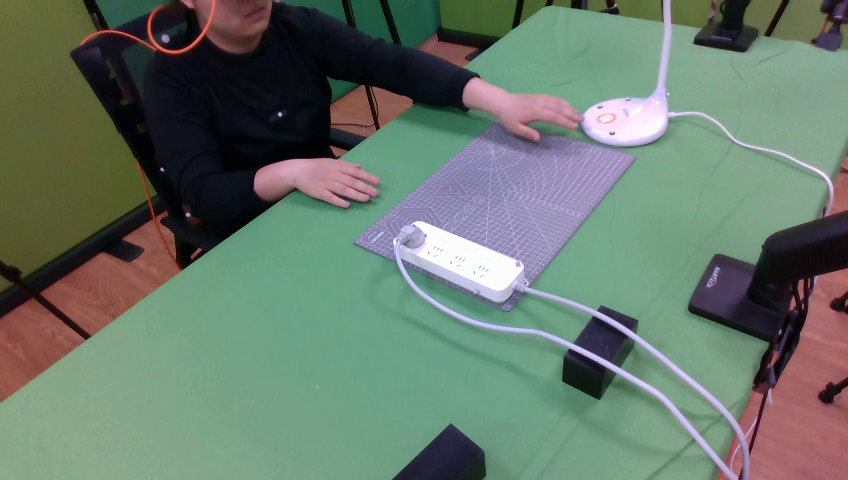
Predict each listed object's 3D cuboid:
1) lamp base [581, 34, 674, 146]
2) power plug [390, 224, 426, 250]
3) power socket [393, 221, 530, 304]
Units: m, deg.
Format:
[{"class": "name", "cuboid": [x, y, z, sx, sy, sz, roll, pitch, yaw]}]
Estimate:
[{"class": "lamp base", "cuboid": [0.392, -0.291, 1.129, 0.180, 0.181, 0.159, -11, 41, -8]}, {"class": "power plug", "cuboid": [-0.030, 0.004, 0.920, 0.073, 0.053, 0.035, -34, 47, -26]}, {"class": "power socket", "cuboid": [0.049, 0.030, 0.914, 0.225, 0.033, 0.072, 24, 51, 31]}]
